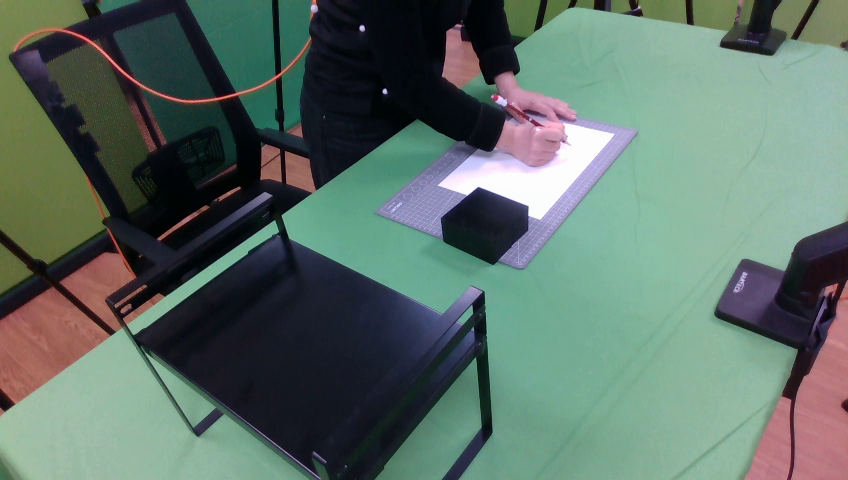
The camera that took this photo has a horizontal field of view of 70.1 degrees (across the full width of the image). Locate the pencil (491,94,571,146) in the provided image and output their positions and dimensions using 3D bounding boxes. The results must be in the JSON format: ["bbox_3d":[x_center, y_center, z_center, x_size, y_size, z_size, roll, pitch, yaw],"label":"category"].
[{"bbox_3d":[0.197,-0.212,1.088,0.195,0.012,0.012,25,31,-27],"label":"pencil"}]
